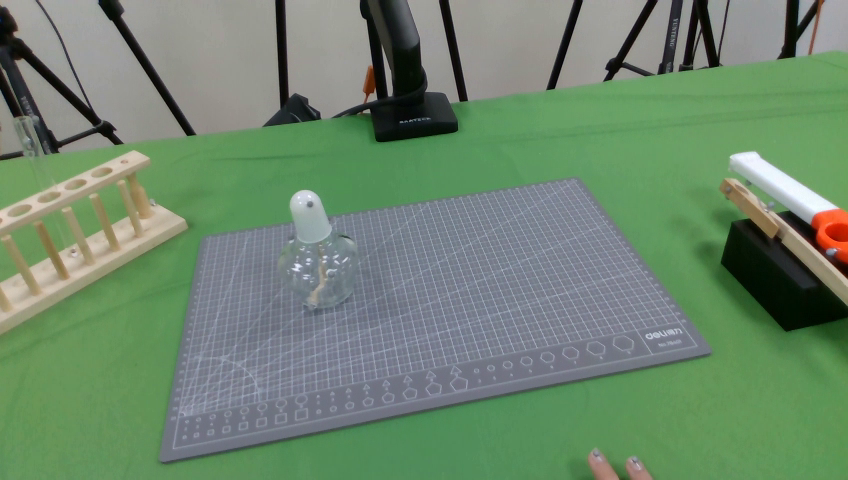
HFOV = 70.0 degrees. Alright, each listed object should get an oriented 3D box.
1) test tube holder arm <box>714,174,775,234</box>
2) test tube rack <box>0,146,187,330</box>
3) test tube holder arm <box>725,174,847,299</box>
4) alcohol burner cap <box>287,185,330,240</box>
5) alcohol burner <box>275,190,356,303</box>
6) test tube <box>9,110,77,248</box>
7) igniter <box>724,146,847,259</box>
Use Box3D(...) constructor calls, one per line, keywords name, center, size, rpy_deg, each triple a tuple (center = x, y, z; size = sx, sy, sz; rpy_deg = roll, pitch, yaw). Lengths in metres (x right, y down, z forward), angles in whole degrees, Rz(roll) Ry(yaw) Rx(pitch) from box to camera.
Box3D(name="test tube holder arm", center=(0.304, -0.035, 0.572), size=(0.010, 0.015, 0.087), rpy_deg=(-5, 37, -11))
Box3D(name="test tube rack", center=(-0.380, -0.002, 0.627), size=(0.066, 0.086, 0.242), rpy_deg=(24, 46, 32))
Box3D(name="test tube holder arm", center=(0.319, -0.009, 0.539), size=(0.013, 0.015, 0.176), rpy_deg=(-5, 37, -12))
Box3D(name="alcohol burner cap", center=(-0.105, -0.027, 0.543), size=(0.034, 0.048, 0.033), rpy_deg=(-5, 40, 5))
Box3D(name="alcohol burner", center=(-0.103, 0.001, 0.565), size=(0.078, 0.120, 0.077), rpy_deg=(-2, 39, 2))
Box3D(name="test tube", center=(-0.385, -0.058, 0.617), size=(0.017, 0.151, 0.017), rpy_deg=(-2, 31, 2))
Box3D(name="igniter", center=(0.362, -0.019, 0.541), size=(0.057, 0.025, 0.273), rpy_deg=(-11, 34, -6))
